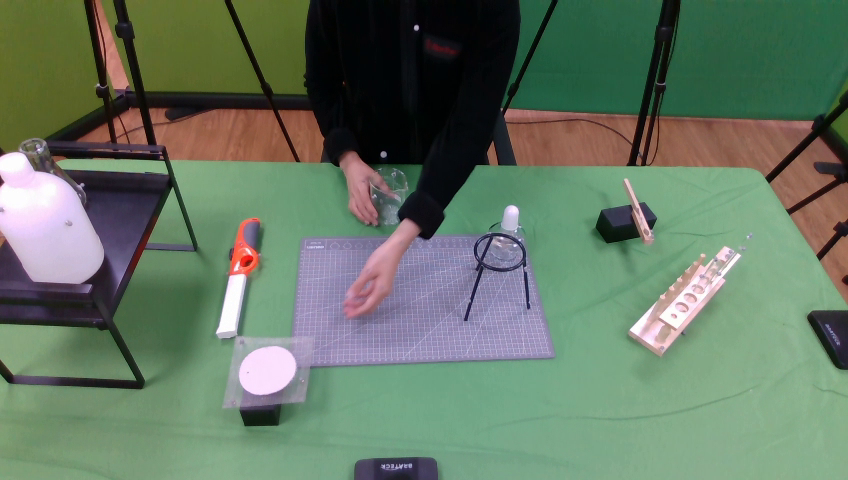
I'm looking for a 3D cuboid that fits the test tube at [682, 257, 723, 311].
[{"bbox_3d":[0.475,0.080,1.037,0.017,0.151,0.017,1,51,-1],"label":"test tube"}]

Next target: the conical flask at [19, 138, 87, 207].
[{"bbox_3d":[-0.576,-0.097,0.930,0.075,0.122,0.075,2,46,-2],"label":"conical flask"}]

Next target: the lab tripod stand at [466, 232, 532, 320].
[{"bbox_3d":[0.125,0.059,1.065,0.148,0.132,0.147,1,45,0],"label":"lab tripod stand"}]

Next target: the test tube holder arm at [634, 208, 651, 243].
[{"bbox_3d":[0.428,-0.030,1.189,0.010,0.015,0.087,1,47,-2],"label":"test tube holder arm"}]

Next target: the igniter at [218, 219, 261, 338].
[{"bbox_3d":[-0.336,0.060,1.111,0.057,0.025,0.274,-8,46,3],"label":"igniter"}]

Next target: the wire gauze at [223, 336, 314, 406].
[{"bbox_3d":[-0.237,0.197,0.931,0.121,0.011,0.124,1,45,-4],"label":"wire gauze"}]

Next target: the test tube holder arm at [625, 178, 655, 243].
[{"bbox_3d":[0.433,-0.062,1.220,0.013,0.015,0.177,1,47,-3],"label":"test tube holder arm"}]

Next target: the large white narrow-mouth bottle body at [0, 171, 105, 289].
[{"bbox_3d":[-0.513,-0.029,0.818,0.102,0.195,0.101,2,46,-2],"label":"large white narrow-mouth bottle body"}]

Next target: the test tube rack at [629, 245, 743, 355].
[{"bbox_3d":[0.474,0.095,1.091,0.242,0.085,0.066,-34,56,-31],"label":"test tube rack"}]

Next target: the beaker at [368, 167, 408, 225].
[{"bbox_3d":[-0.070,-0.085,1.220,0.084,0.101,0.074,21,49,15],"label":"beaker"}]

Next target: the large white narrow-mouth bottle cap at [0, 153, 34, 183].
[{"bbox_3d":[-0.510,-0.090,0.754,0.038,0.024,0.037,2,46,-2],"label":"large white narrow-mouth bottle cap"}]

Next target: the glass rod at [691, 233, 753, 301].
[{"bbox_3d":[0.508,0.053,1.041,0.008,0.200,0.008,5,51,-6],"label":"glass rod"}]

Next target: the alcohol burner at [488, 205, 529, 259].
[{"bbox_3d":[0.163,-0.020,1.158,0.078,0.120,0.077,1,47,0],"label":"alcohol burner"}]

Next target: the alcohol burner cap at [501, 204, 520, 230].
[{"bbox_3d":[0.164,-0.046,1.133,0.034,0.048,0.033,2,40,-2],"label":"alcohol burner cap"}]
